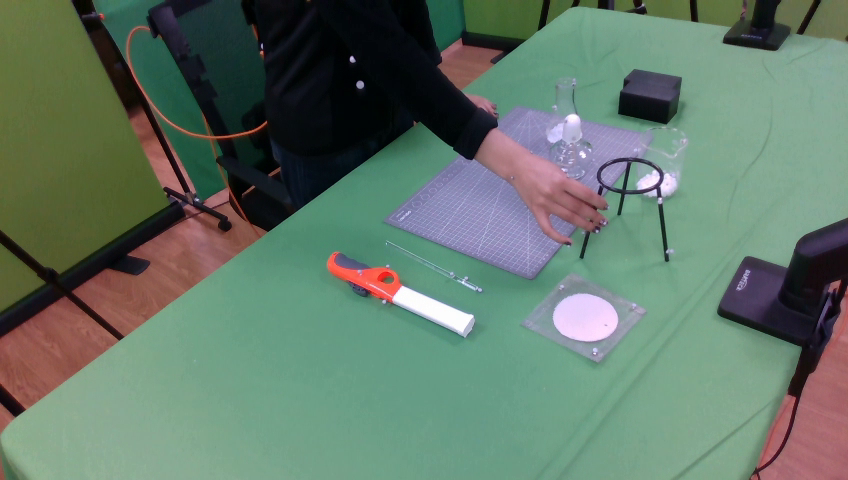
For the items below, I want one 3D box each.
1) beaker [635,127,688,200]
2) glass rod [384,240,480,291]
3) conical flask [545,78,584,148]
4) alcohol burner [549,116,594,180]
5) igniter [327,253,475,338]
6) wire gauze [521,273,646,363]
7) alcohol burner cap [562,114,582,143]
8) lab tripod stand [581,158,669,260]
[{"bbox_3d":[0.389,-0.122,0.994,0.074,0.101,0.083,-8,40,2],"label":"beaker"},{"bbox_3d":[0.008,0.037,0.949,0.198,0.008,0.008,26,52,34],"label":"glass rod"},{"bbox_3d":[0.265,-0.241,1.135,0.075,0.122,0.075,-6,40,5],"label":"conical flask"},{"bbox_3d":[0.258,-0.166,1.055,0.078,0.120,0.077,-6,42,6],"label":"alcohol burner"},{"bbox_3d":[-0.045,0.077,0.898,0.274,0.025,0.057,22,60,32],"label":"igniter"},{"bbox_3d":[0.219,0.105,0.830,0.120,0.011,0.125,28,54,37],"label":"wire gauze"},{"bbox_3d":[0.254,-0.192,1.030,0.034,0.048,0.033,-5,50,6],"label":"alcohol burner cap"},{"bbox_3d":[0.298,-0.046,0.895,0.148,0.132,0.147,-6,38,6],"label":"lab tripod stand"}]
